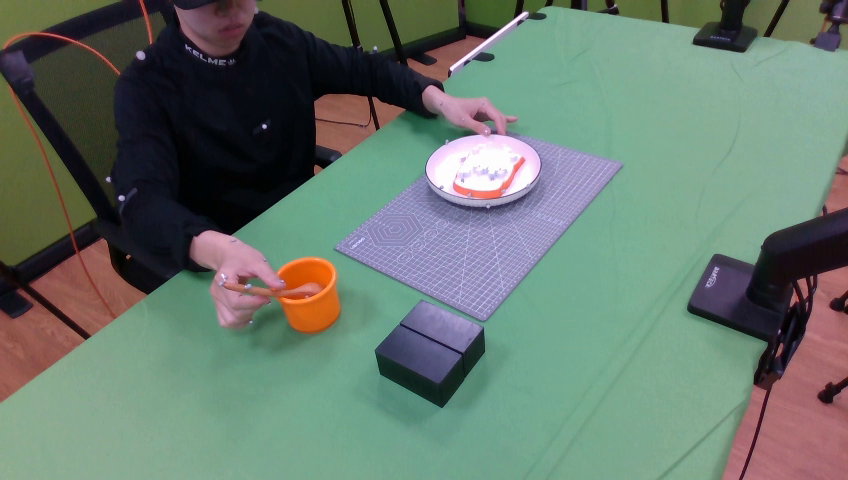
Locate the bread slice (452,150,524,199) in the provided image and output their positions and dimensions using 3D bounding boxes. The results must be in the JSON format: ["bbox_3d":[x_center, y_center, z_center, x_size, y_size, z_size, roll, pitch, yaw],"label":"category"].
[{"bbox_3d":[0.112,-0.118,1.079,0.104,0.019,0.131,11,42,21],"label":"bread slice"}]

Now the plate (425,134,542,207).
[{"bbox_3d":[0.106,-0.121,1.079,0.209,0.038,0.208,-4,41,4],"label":"plate"}]

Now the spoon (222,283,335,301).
[{"bbox_3d":[-0.188,0.070,0.810,0.041,0.021,0.195,29,12,33],"label":"spoon"}]
